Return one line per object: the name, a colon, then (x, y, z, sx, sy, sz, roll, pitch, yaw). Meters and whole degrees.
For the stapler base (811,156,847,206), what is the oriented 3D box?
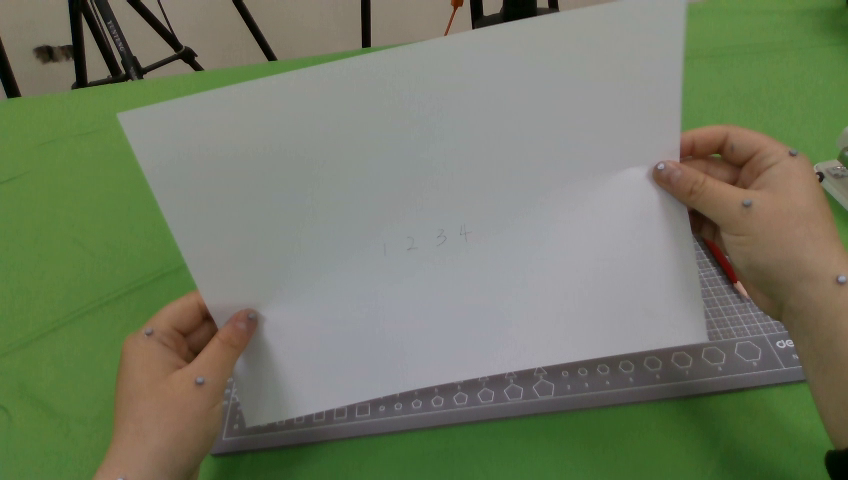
stapler base: (0.385, -0.037, 0.512, 0.041, 0.025, 0.129, -13, 45, -1)

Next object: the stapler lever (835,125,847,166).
stapler lever: (0.382, -0.054, 0.493, 0.027, 0.040, 0.116, -13, 45, 0)

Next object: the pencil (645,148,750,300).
pencil: (0.233, -0.021, 0.525, 0.012, 0.012, 0.192, -10, 45, -1)
